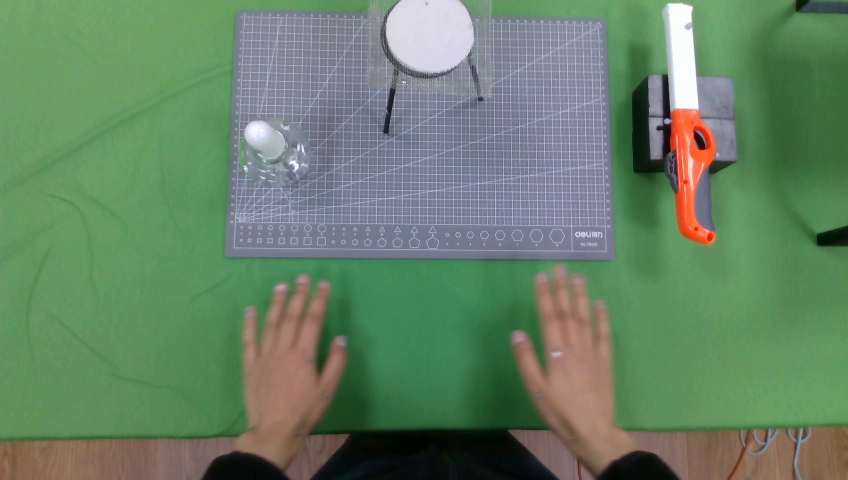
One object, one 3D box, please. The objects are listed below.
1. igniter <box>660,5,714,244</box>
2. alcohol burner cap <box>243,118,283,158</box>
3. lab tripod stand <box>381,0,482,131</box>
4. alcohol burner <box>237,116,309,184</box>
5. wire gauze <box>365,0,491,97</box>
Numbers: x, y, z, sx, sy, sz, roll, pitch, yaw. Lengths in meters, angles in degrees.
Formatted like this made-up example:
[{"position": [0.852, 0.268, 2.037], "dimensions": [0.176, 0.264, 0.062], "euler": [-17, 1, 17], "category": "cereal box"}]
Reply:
[{"position": [0.291, -0.132, 0.676], "dimensions": [0.057, 0.025, 0.275], "euler": [1, 79, -5], "category": "igniter"}, {"position": [-0.166, -0.106, 0.615], "dimensions": [0.034, 0.048, 0.033], "euler": [-1, 81, 6], "category": "alcohol burner cap"}, {"position": [-0.003, -0.197, 0.662], "dimensions": [0.148, 0.132, 0.148], "euler": [0, 81, -1], "category": "lab tripod stand"}, {"position": [-0.165, -0.101, 0.650], "dimensions": [0.078, 0.119, 0.077], "euler": [0, 83, -1], "category": "alcohol burner"}, {"position": [0.006, -0.203, 0.595], "dimensions": [0.125, 0.011, 0.121], "euler": [3, 81, -2], "category": "wire gauze"}]
